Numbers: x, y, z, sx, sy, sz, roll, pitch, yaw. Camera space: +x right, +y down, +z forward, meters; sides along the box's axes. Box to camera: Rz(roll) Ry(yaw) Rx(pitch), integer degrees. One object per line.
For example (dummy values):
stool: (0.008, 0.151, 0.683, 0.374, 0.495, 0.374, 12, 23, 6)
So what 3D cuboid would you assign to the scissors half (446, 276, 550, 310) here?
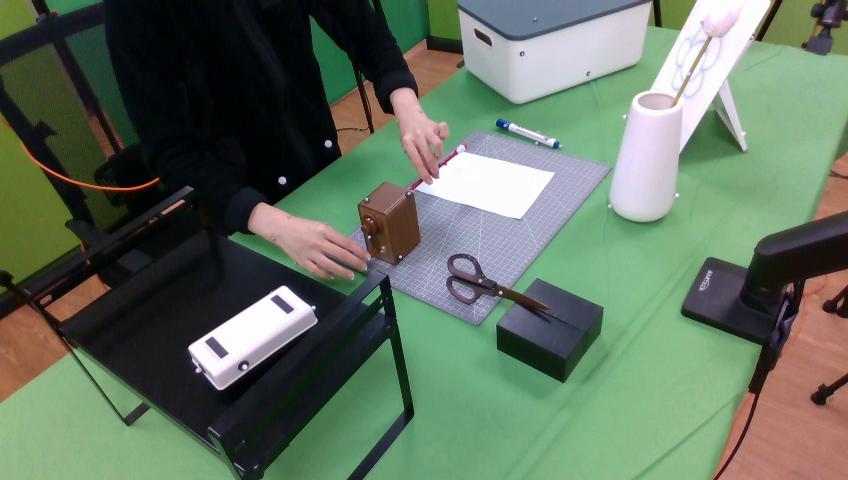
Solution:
scissors half: (0.098, 0.077, 0.827, 0.174, 0.040, 0.013, 6, 14, 44)

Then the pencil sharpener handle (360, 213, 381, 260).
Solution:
pencil sharpener handle: (-0.083, -0.004, 0.902, 0.035, 0.068, 0.031, 13, 44, 36)

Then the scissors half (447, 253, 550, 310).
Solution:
scissors half: (0.098, 0.058, 0.821, 0.173, 0.040, 0.013, 27, 33, 37)

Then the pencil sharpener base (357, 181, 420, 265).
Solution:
pencil sharpener base: (-0.055, -0.024, 0.941, 0.061, 0.107, 0.077, 21, 48, 29)

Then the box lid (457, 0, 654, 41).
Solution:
box lid: (0.285, -0.522, 1.323, 0.373, 0.015, 0.261, -22, 43, -16)

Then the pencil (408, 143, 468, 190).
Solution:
pencil: (0.013, -0.112, 0.992, 0.012, 0.012, 0.194, 24, 49, 31)

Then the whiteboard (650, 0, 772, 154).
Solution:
whiteboard: (0.543, -0.298, 1.076, 0.144, 0.305, 0.216, 12, 40, -7)

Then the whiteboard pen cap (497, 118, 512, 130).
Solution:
whiteboard pen cap: (0.165, -0.235, 1.227, 0.033, 0.018, 0.018, 31, 53, 31)

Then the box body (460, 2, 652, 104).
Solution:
box body: (0.291, -0.465, 1.371, 0.365, 0.161, 0.252, -22, 42, -16)

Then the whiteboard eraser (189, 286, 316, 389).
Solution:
whiteboard eraser: (-0.166, 0.096, 0.593, 0.113, 0.042, 0.055, -36, 47, -29)

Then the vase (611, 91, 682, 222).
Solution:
vase: (0.348, -0.125, 0.935, 0.098, 0.201, 0.097, -3, 40, 3)

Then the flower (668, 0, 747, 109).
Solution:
flower: (0.354, -0.187, 0.879, 0.038, 0.362, 0.044, 30, 48, 14)

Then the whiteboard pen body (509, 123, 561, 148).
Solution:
whiteboard pen body: (0.209, -0.211, 1.195, 0.139, 0.017, 0.017, 30, 52, 33)
